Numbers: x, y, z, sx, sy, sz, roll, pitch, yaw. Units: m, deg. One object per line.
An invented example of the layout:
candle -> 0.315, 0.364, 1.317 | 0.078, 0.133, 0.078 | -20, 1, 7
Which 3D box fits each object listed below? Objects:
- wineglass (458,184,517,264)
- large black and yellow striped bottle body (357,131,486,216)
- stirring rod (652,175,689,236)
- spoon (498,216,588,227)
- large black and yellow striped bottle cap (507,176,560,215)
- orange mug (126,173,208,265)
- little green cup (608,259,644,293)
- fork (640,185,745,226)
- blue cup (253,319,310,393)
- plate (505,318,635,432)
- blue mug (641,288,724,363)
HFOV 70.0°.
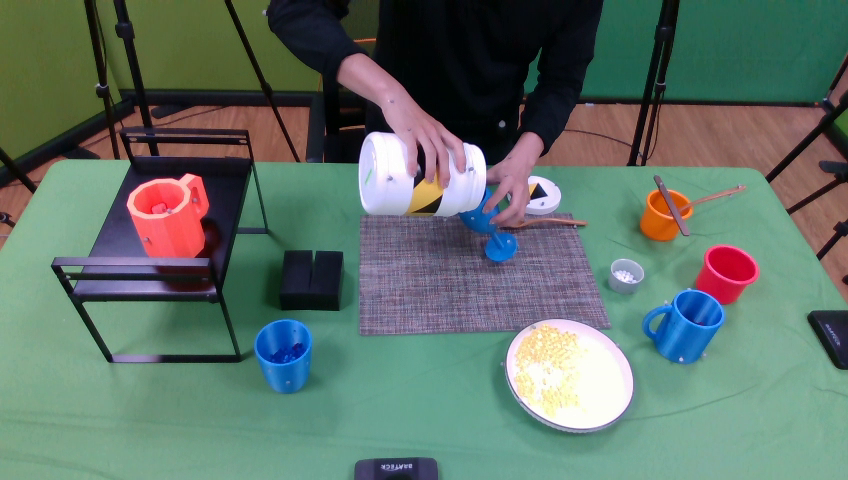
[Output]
wineglass -> 0.115, -0.032, 1.099 | 0.073, 0.173, 0.073 | -13, 53, 19
large black and yellow striped bottle body -> -0.005, -0.104, 0.975 | 0.184, 0.131, 0.130 | 0, 45, -21
stirring rod -> 0.491, -0.072, 1.211 | 0.014, 0.006, 0.175 | -1, 47, -6
spoon -> 0.246, -0.039, 1.247 | 0.194, 0.022, 0.041 | -2, 25, -6
large black and yellow striped bottle cap -> 0.237, -0.098, 1.312 | 0.115, 0.019, 0.114 | 2, 42, -1
orange mug -> -0.371, -0.039, 0.902 | 0.083, 0.101, 0.126 | 18, 52, 13
little green cup -> 0.379, 0.070, 1.147 | 0.061, 0.039, 0.061 | 3, 45, -3
fork -> 0.534, -0.069, 1.215 | 0.207, 0.019, 0.028 | -26, 28, 33
blue cup -> -0.217, 0.187, 0.943 | 0.093, 0.101, 0.092 | 3, 45, -3
plate -> 0.235, 0.221, 0.991 | 0.209, 0.038, 0.208 | 2, 46, -2
blue mug -> 0.432, 0.144, 1.033 | 0.116, 0.106, 0.082 | 8, 46, 5
